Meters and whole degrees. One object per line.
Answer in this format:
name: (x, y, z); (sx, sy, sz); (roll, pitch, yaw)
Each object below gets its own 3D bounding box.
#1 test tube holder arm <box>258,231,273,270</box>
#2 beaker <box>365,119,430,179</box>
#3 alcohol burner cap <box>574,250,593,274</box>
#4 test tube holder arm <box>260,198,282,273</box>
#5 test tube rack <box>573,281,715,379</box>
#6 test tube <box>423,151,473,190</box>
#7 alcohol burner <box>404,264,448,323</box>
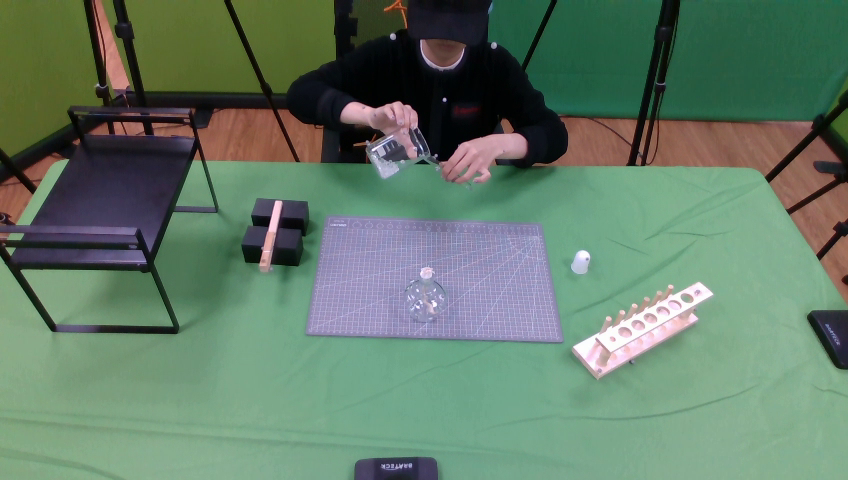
test tube holder arm: (-0.282, 0.017, 1.086); (0.015, 0.010, 0.087); (-3, 47, 3)
beaker: (-0.048, -0.160, 1.095); (0.100, 0.084, 0.073); (-29, 46, -4)
alcohol burner cap: (0.308, 0.039, 1.163); (0.034, 0.048, 0.033); (1, 46, -1)
test tube holder arm: (-0.282, -0.012, 1.120); (0.015, 0.013, 0.177); (-3, 48, 3)
test tube rack: (0.378, 0.140, 1.038); (0.242, 0.085, 0.066); (-22, 51, -23)
test tube: (0.049, -0.133, 1.178); (0.017, 0.151, 0.017); (-19, 58, 34)
alcohol burner: (0.003, 0.087, 1.042); (0.078, 0.120, 0.077); (1, 45, 0)
